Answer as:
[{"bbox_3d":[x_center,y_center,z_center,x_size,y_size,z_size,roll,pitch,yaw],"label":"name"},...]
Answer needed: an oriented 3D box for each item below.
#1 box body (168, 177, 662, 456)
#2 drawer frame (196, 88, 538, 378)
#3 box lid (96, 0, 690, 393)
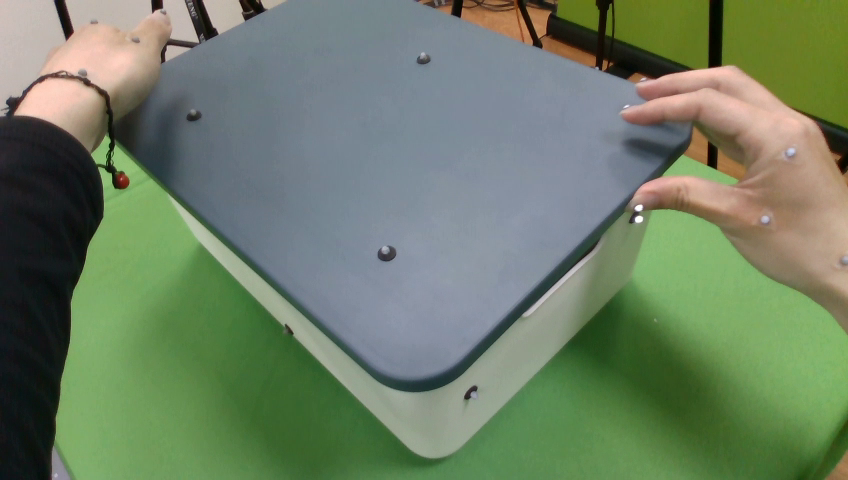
[{"bbox_3d":[-0.033,-0.040,0.490,0.254,0.162,0.360,-38,54,-24],"label":"box body"},{"bbox_3d":[-0.047,-0.023,0.522,0.200,0.083,0.213,30,57,31],"label":"drawer frame"},{"bbox_3d":[-0.039,-0.083,0.421,0.368,0.015,0.263,34,62,31],"label":"box lid"}]
